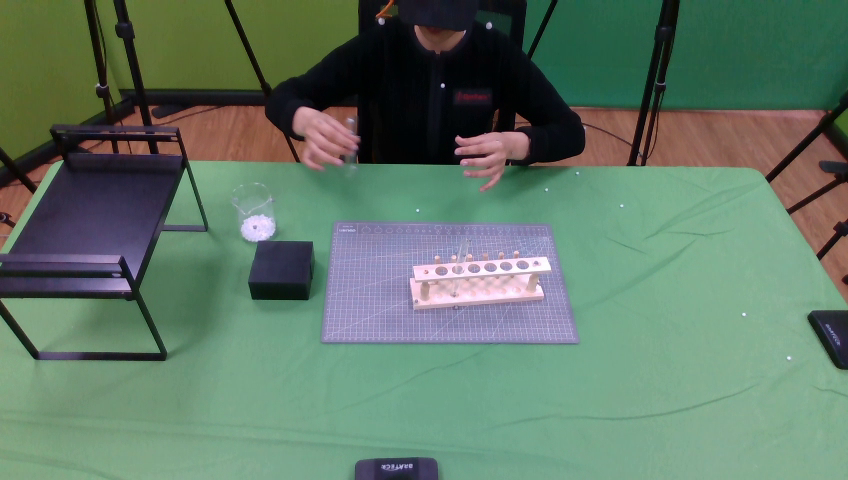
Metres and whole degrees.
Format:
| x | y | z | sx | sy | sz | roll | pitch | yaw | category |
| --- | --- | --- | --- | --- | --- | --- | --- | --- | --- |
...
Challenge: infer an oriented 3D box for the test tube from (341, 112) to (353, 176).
| x | y | z | sx | sy | sz | roll | pitch | yaw | category |
| --- | --- | --- | --- | --- | --- | --- | --- | --- | --- |
| -0.146 | -0.177 | 1.141 | 0.017 | 0.151 | 0.017 | 6 | 48 | -6 | test tube |

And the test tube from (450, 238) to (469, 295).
| x | y | z | sx | sy | sz | roll | pitch | yaw | category |
| --- | --- | --- | --- | --- | --- | --- | --- | --- | --- |
| 0.060 | 0.048 | 1.040 | 0.017 | 0.151 | 0.017 | 3 | 51 | -4 | test tube |

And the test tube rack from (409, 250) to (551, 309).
| x | y | z | sx | sy | sz | roll | pitch | yaw | category |
| --- | --- | --- | --- | --- | --- | --- | --- | --- | --- |
| 0.098 | 0.065 | 1.096 | 0.243 | 0.085 | 0.066 | -4 | 47 | -8 | test tube rack |

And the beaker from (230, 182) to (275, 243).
| x | y | z | sx | sy | sz | roll | pitch | yaw | category |
| --- | --- | --- | --- | --- | --- | --- | --- | --- | --- |
| -0.328 | -0.049 | 1.166 | 0.074 | 0.101 | 0.083 | 2 | 47 | -2 | beaker |
